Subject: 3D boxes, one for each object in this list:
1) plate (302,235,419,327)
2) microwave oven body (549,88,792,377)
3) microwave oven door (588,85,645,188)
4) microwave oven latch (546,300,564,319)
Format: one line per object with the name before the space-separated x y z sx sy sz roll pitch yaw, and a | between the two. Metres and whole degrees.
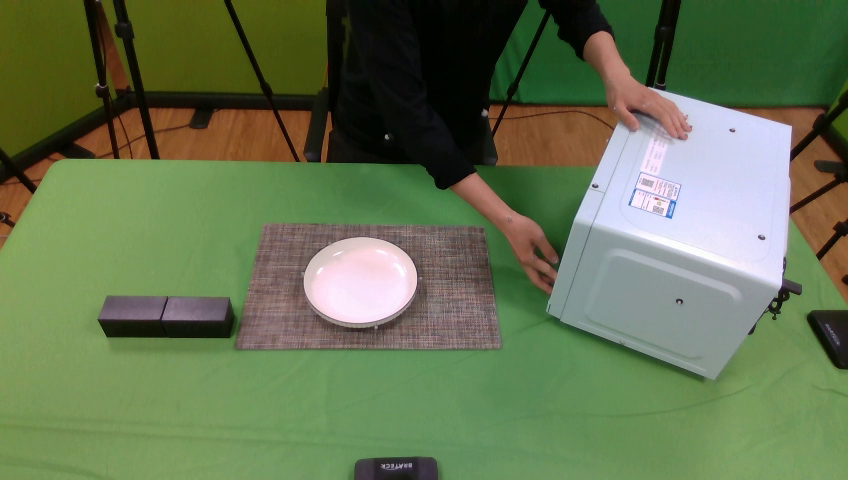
plate | -0.114 0.077 1.098 0.208 0.039 0.206 2 46 -2
microwave oven body | 0.456 -0.028 1.088 0.325 0.261 0.440 20 47 16
microwave oven door | 0.342 -0.107 1.149 0.039 0.245 0.354 21 48 15
microwave oven latch | 0.244 0.104 1.079 0.030 0.029 0.079 26 49 21
